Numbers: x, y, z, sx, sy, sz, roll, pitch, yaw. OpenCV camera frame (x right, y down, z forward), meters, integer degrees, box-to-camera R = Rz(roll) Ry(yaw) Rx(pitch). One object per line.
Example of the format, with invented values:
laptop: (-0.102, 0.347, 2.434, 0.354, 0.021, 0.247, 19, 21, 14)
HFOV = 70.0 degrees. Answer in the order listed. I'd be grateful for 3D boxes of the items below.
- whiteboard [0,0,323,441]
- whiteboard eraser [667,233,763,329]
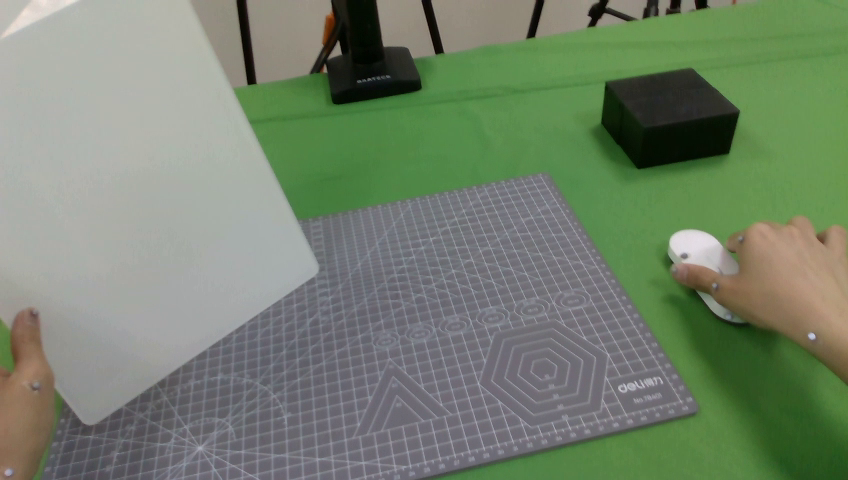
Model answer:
whiteboard: (-0.257, -0.048, 0.478, 0.217, 0.308, 0.142, -36, 29, -29)
whiteboard eraser: (0.236, 0.030, 0.496, 0.041, 0.019, 0.100, -11, 42, -5)
